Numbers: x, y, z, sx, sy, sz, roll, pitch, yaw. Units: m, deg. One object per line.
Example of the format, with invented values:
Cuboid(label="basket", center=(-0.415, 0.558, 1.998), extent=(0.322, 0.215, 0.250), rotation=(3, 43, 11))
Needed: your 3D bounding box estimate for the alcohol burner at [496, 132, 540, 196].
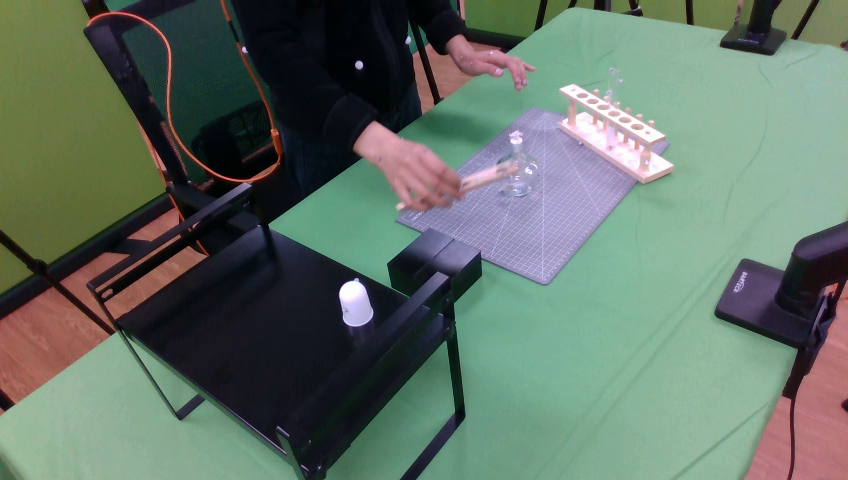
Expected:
Cuboid(label="alcohol burner", center=(0.159, -0.135, 1.035), extent=(0.078, 0.119, 0.077), rotation=(-5, 42, 5))

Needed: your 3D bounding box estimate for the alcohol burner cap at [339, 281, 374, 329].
Cuboid(label="alcohol burner cap", center=(-0.071, 0.063, 0.617), extent=(0.034, 0.048, 0.033), rotation=(-4, 39, 4))

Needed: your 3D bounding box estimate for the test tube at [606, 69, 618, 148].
Cuboid(label="test tube", center=(0.330, -0.228, 1.064), extent=(0.017, 0.151, 0.017), rotation=(-7, 39, 6))

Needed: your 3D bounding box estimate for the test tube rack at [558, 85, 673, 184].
Cuboid(label="test tube rack", center=(0.347, -0.203, 1.109), extent=(0.067, 0.085, 0.240), rotation=(-22, 42, -17))

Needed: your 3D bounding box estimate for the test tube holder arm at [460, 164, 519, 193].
Cuboid(label="test tube holder arm", center=(0.090, -0.086, 0.847), extent=(0.088, 0.015, 0.010), rotation=(-20, 67, -1))

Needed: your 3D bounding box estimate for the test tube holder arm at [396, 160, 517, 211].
Cuboid(label="test tube holder arm", center=(0.046, -0.076, 0.849), extent=(0.178, 0.015, 0.013), rotation=(-19, 67, 0))
